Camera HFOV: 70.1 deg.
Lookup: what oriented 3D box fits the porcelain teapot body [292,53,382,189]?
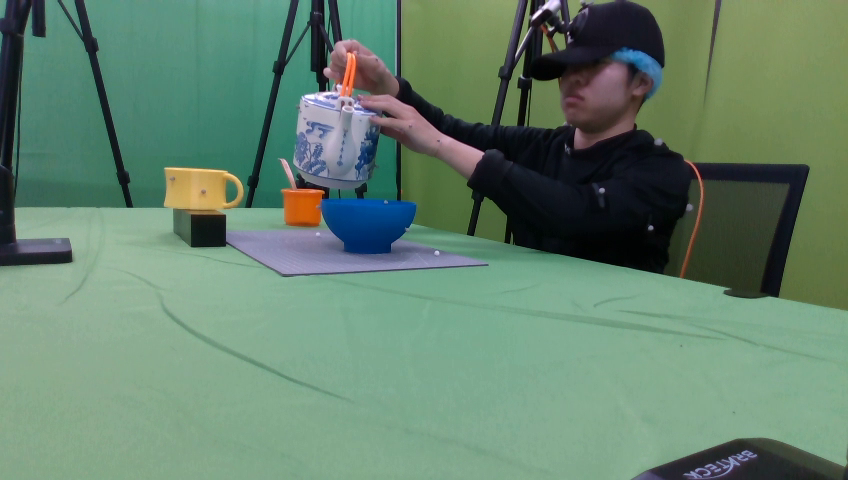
[{"bbox_3d":[-0.143,-0.203,1.050,0.146,0.225,0.204,6,23,-18],"label":"porcelain teapot body"}]

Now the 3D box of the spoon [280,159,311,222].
[{"bbox_3d":[-0.285,-0.111,1.320,0.042,0.193,0.021,-3,-36,-31],"label":"spoon"}]

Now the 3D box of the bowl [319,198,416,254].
[{"bbox_3d":[-0.089,-0.022,0.941,0.151,0.077,0.151,2,7,0],"label":"bowl"}]

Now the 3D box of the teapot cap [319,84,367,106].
[{"bbox_3d":[-0.141,-0.250,1.060,0.085,0.044,0.085,12,23,-5],"label":"teapot cap"}]

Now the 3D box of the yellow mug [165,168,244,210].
[{"bbox_3d":[-0.370,-0.086,1.027,0.131,0.064,0.100,5,7,4],"label":"yellow mug"}]
